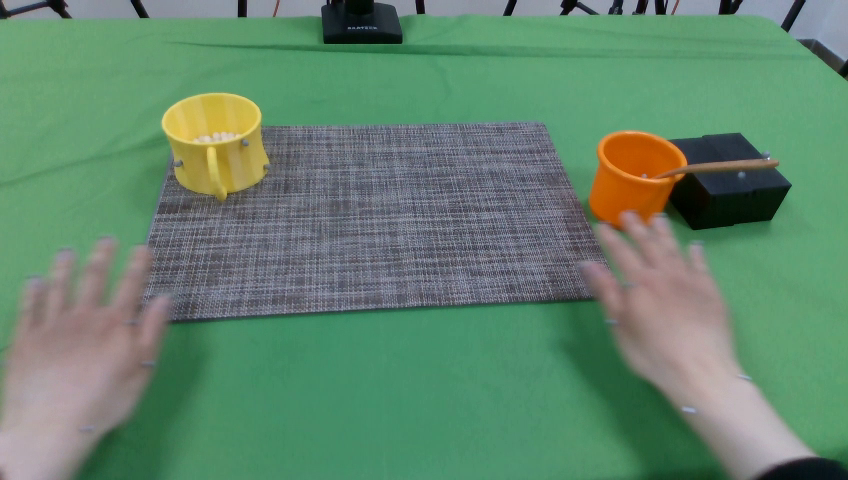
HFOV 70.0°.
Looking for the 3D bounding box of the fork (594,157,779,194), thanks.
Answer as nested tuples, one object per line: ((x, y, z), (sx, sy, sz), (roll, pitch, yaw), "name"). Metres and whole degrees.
((0.248, -0.064, 0.600), (0.028, 0.018, 0.206), (-26, 8, -27), "fork")

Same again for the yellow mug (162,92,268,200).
((-0.220, -0.097, 0.646), (0.100, 0.064, 0.129), (-7, 46, -12), "yellow mug")
